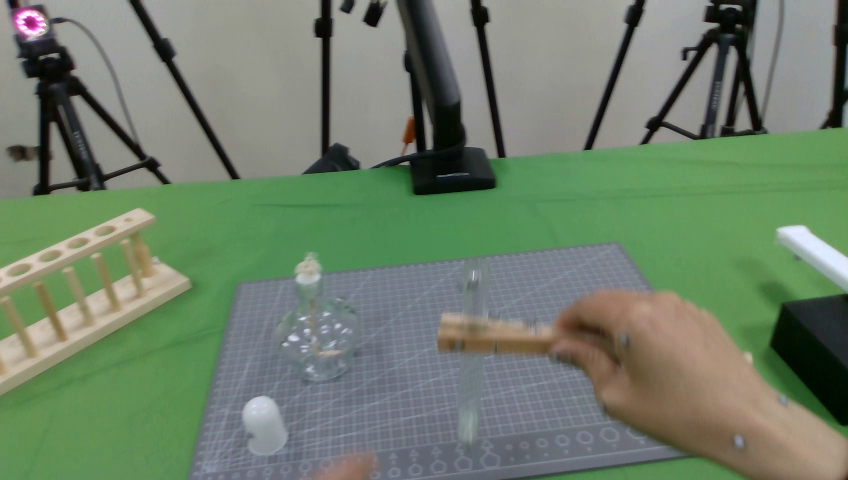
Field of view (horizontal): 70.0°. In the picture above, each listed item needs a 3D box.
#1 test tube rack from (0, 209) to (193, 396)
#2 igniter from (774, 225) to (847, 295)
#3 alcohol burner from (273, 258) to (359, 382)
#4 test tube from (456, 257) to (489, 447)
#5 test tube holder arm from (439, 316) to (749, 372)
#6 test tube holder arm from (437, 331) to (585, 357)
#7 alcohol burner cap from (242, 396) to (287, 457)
[{"bbox_3d":[-0.367,0.063,0.609,0.066,0.086,0.242,22,41,34],"label":"test tube rack"},{"bbox_3d":[0.397,0.058,0.515,0.057,0.025,0.274,-7,29,-4],"label":"igniter"},{"bbox_3d":[-0.099,0.068,0.545,0.078,0.120,0.077,-2,31,2],"label":"alcohol burner"},{"bbox_3d":[0.030,0.077,0.383,0.017,0.151,0.017,0,31,0],"label":"test tube"},{"bbox_3d":[0.097,0.062,0.363,0.178,0.015,0.013,4,38,12],"label":"test tube holder arm"},{"bbox_3d":[0.052,0.063,0.366,0.088,0.015,0.010,0,37,6],"label":"test tube holder arm"},{"bbox_3d":[-0.132,0.148,0.491,0.034,0.048,0.033,-2,33,2],"label":"alcohol burner cap"}]
